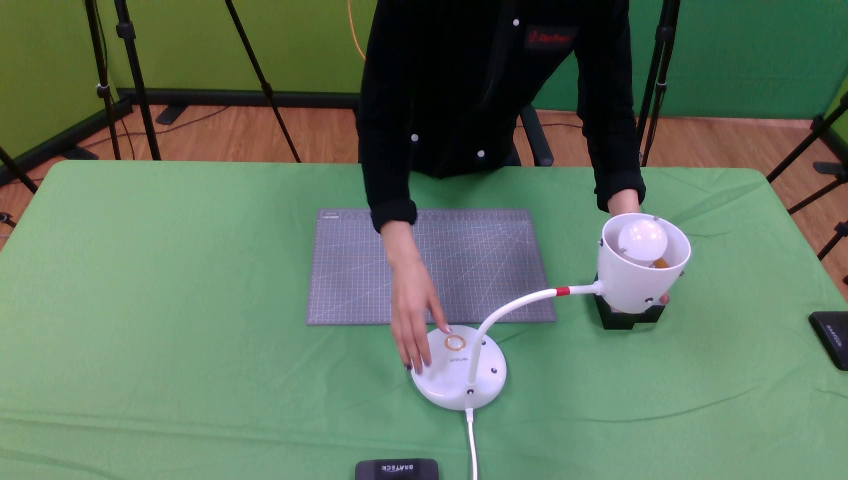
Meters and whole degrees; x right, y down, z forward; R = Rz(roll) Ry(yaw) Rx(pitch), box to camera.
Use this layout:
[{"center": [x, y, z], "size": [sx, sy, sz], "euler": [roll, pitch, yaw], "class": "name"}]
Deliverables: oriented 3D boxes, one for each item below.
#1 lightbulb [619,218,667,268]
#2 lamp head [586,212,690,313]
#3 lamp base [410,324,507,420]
[{"center": [0.286, 0.019, 0.806], "size": [0.059, 0.108, 0.059], "euler": [0, 38, 0], "class": "lightbulb"}, {"center": [0.280, 0.041, 0.818], "size": [0.112, 0.123, 0.111], "euler": [6, 41, -5], "class": "lamp head"}, {"center": [0.064, 0.163, 0.938], "size": [0.161, 0.181, 0.178], "euler": [-10, 50, -13], "class": "lamp base"}]
